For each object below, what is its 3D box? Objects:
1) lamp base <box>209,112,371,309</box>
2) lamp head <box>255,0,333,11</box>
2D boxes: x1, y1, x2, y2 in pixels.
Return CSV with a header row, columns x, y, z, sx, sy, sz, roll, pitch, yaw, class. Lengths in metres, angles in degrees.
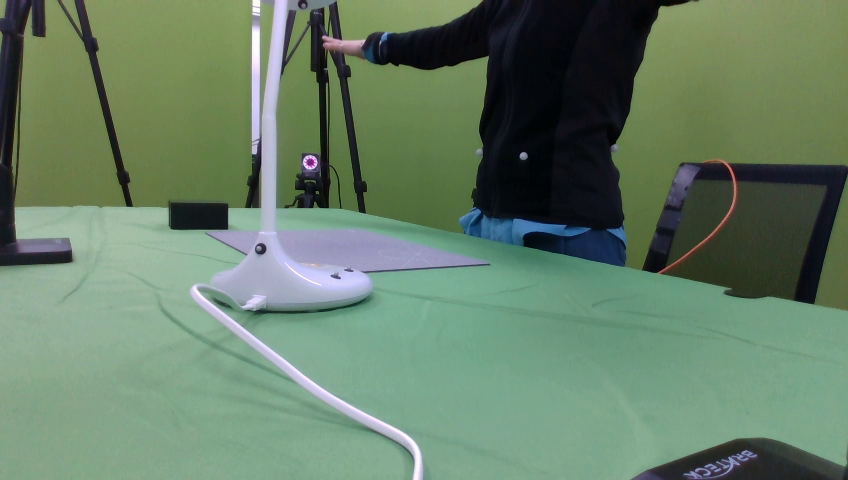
x,y,z,sx,sy,sz,roll,pitch,yaw,class
-0.133,-0.032,0.594,0.160,0.180,0.179,2,10,3,lamp base
-0.141,-0.318,0.630,0.113,0.112,0.123,1,-32,-9,lamp head
